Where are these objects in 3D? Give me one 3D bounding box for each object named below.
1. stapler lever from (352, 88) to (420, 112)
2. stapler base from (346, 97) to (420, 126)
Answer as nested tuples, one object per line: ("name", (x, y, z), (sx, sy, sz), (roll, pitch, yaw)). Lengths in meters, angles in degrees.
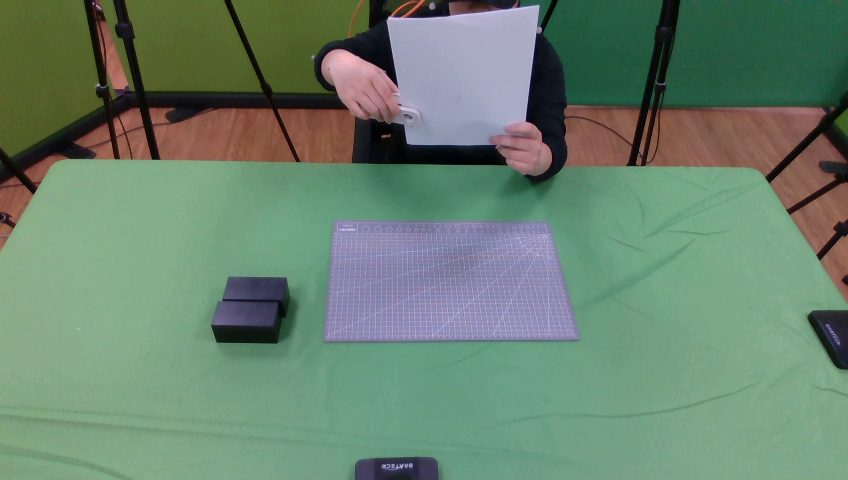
("stapler lever", (-0.063, -0.239, 1.037), (0.118, 0.027, 0.040), (22, 71, 15))
("stapler base", (-0.067, -0.224, 1.033), (0.130, 0.041, 0.024), (12, 69, 12))
